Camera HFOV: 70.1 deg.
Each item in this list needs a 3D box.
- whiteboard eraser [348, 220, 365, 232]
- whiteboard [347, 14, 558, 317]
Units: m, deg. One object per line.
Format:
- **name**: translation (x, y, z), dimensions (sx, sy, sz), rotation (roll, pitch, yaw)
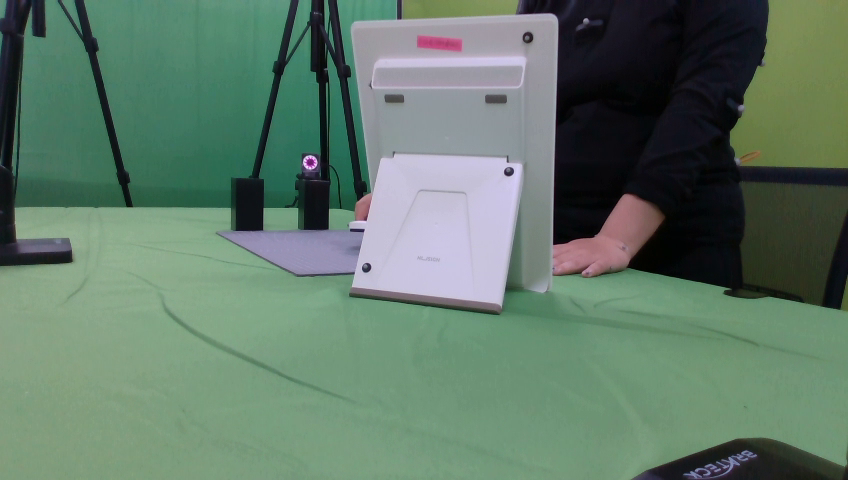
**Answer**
- **whiteboard eraser**: translation (-0.081, -0.021, 0.957), dimensions (0.041, 0.019, 0.102), rotation (0, -2, 32)
- **whiteboard**: translation (0.012, -0.056, 0.608), dimensions (0.216, 0.305, 0.144), rotation (6, 27, 20)
